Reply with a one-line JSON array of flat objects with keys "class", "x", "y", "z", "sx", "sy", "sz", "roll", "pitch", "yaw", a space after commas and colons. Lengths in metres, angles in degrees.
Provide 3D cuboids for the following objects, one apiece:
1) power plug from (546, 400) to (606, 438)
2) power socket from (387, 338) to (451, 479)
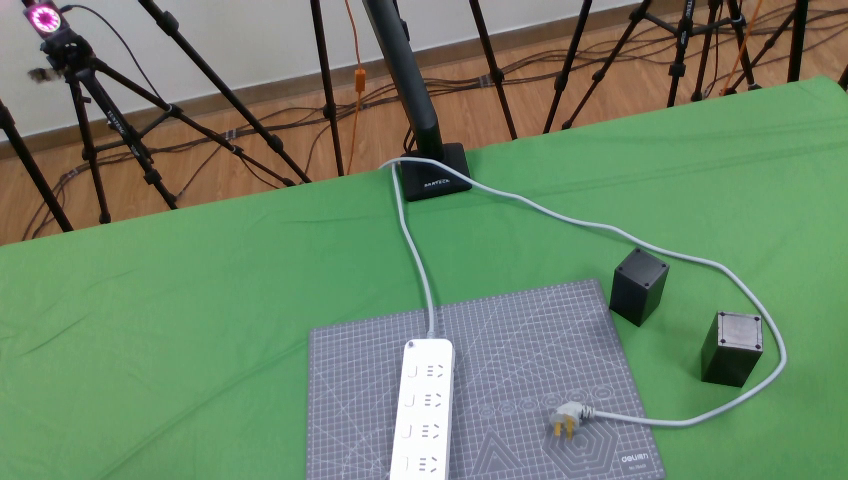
[{"class": "power plug", "x": 0.191, "y": 0.228, "z": 0.769, "sx": 0.072, "sy": 0.035, "sz": 0.052, "roll": -5, "pitch": 33, "yaw": 21}, {"class": "power socket", "x": -0.003, "y": 0.233, "z": 0.811, "sx": 0.072, "sy": 0.033, "sz": 0.224, "roll": -2, "pitch": 52, "yaw": 9}]
